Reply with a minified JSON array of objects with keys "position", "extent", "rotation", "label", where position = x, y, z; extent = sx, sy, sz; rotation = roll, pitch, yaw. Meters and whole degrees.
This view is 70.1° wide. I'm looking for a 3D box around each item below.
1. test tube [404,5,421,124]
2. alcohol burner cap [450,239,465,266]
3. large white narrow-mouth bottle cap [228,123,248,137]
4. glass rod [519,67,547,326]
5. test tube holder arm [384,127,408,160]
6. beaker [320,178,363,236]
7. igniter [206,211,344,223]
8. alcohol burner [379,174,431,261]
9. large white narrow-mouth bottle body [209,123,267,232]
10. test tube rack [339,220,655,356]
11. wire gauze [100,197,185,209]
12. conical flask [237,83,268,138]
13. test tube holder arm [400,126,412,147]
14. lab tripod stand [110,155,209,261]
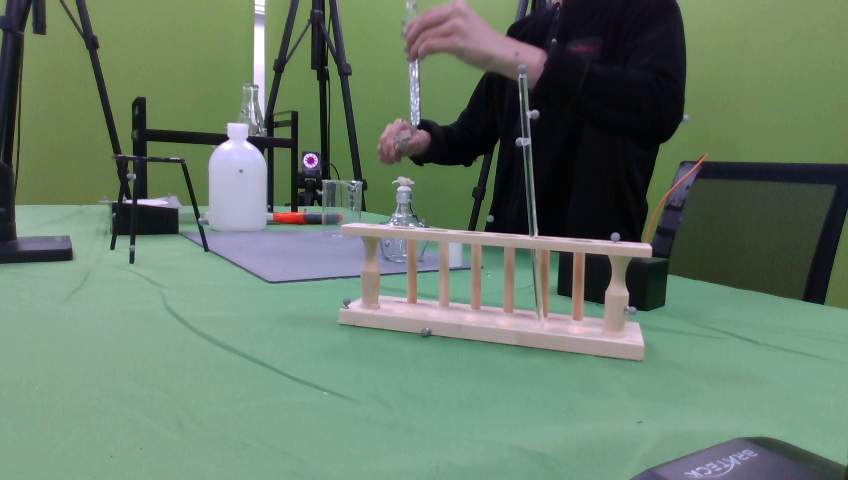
[{"position":[-0.014,-0.228,0.791],"extent":[0.017,0.150,0.017],"rotation":[-2,12,1],"label":"test tube"},{"position":[0.040,0.010,0.815],"extent":[0.034,0.048,0.034],"rotation":[3,9,0],"label":"alcohol burner cap"},{"position":[-0.338,-0.199,1.097],"extent":[0.038,0.024,0.037],"rotation":[2,8,0],"label":"large white narrow-mouth bottle cap"},{"position":[0.084,-0.029,0.459],"extent":[0.008,0.199,0.008],"rotation":[-6,11,2],"label":"glass rod"},{"position":[-0.049,-0.158,1.005],"extent":[0.013,0.015,0.178],"rotation":[-8,-3,-15],"label":"test tube holder arm"},{"position":[-0.145,-0.059,1.079],"extent":[0.074,0.100,0.083],"rotation":[-4,10,-36],"label":"beaker"},{"position":[-0.302,-0.048,1.249],"extent":[0.278,0.025,0.057],"rotation":[-2,-2,-26],"label":"igniter"},{"position":[-0.027,-0.031,0.838],"extent":[0.078,0.119,0.078],"rotation":[0,6,0],"label":"alcohol burner"},{"position":[-0.340,-0.115,1.109],"extent":[0.102,0.194,0.102],"rotation":[2,8,0],"label":"large white narrow-mouth bottle body"},{"position":[0.056,0.032,0.495],"extent":[0.242,0.085,0.067],"rotation":[4,7,15],"label":"test tube rack"},{"position":[-0.469,-0.062,1.008],"extent":[0.126,0.011,0.121],"rotation":[-2,8,-25],"label":"wire gauze"},{"position":[-0.402,-0.299,1.406],"extent":[0.075,0.122,0.075],"rotation":[2,7,0],"label":"conical flask"},{"position":[-0.033,-0.163,0.963],"extent":[0.010,0.015,0.087],"rotation":[-8,-3,-14],"label":"test tube holder arm"},{"position":[-0.361,-0.046,0.806],"extent":[0.148,0.131,0.148],"rotation":[2,5,0],"label":"lab tripod stand"}]
